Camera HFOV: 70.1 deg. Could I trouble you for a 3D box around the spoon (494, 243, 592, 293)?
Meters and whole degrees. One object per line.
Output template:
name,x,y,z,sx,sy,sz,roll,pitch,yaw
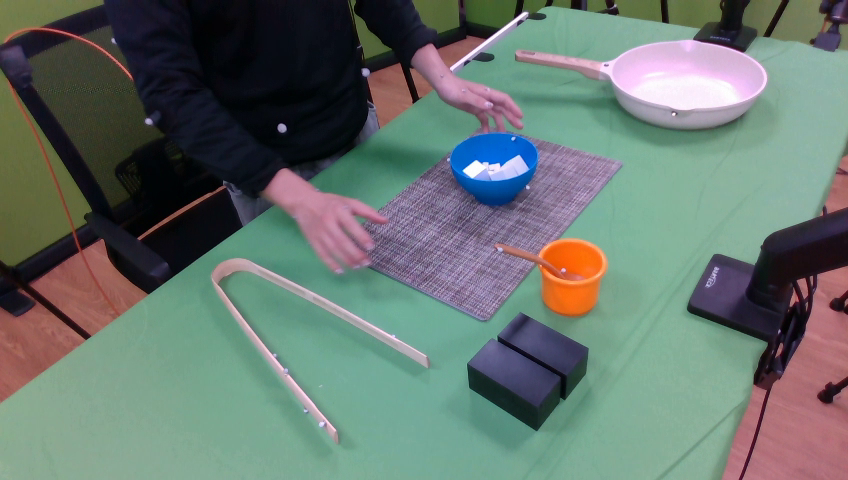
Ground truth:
spoon,0.162,0.034,0.808,0.021,0.195,0.041,-47,40,21

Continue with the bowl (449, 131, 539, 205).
bowl,0.121,-0.114,1.034,0.151,0.077,0.150,-5,41,4

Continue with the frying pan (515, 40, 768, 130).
frying pan,0.423,-0.337,1.236,0.486,0.103,0.307,16,44,13

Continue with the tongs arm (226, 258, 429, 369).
tongs arm,-0.150,0.098,0.873,0.384,0.028,0.028,22,50,30

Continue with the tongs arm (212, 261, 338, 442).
tongs arm,-0.208,0.136,0.830,0.051,0.026,0.381,-31,45,-28
